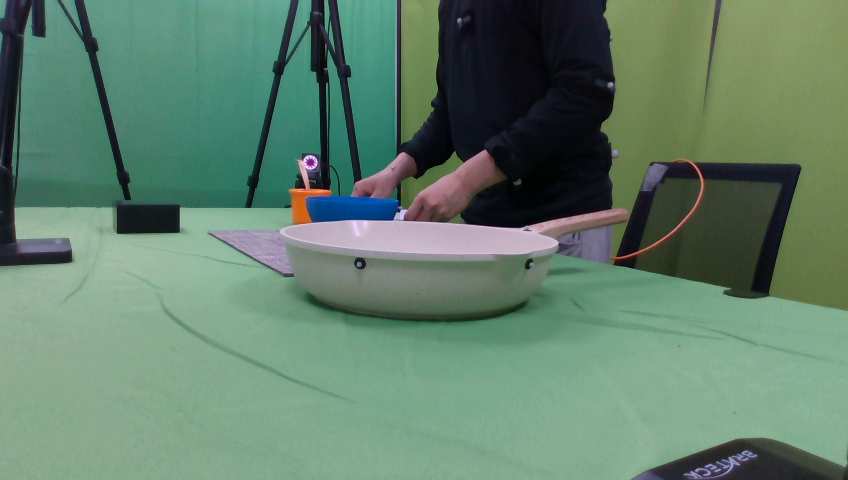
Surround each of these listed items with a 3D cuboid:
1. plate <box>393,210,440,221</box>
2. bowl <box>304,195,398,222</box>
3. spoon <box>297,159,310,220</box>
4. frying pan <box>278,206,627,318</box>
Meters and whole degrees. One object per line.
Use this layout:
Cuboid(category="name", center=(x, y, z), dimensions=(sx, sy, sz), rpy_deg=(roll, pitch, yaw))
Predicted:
Cuboid(category="plate", center=(-0.073, -0.035, 1.196), dimensions=(0.208, 0.039, 0.207), rpy_deg=(4, 6, 0))
Cuboid(category="bowl", center=(-0.118, -0.030, 0.973), dimensions=(0.151, 0.077, 0.151), rpy_deg=(2, 7, 0))
Cuboid(category="spoon", center=(-0.260, -0.113, 1.340), dimensions=(0.042, 0.193, 0.021), rpy_deg=(0, -37, -25))
Cuboid(category="frying pan", center=(0.079, 0.002, 0.705), dimensions=(0.490, 0.102, 0.305), rpy_deg=(-12, 15, -33))
